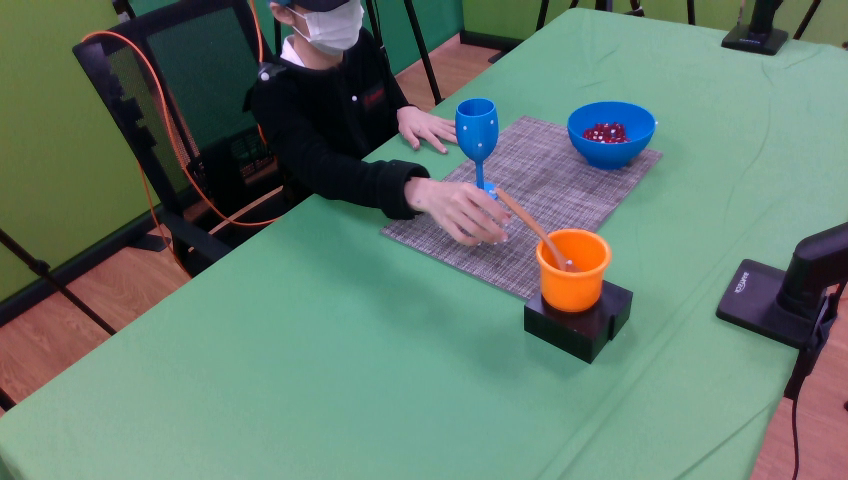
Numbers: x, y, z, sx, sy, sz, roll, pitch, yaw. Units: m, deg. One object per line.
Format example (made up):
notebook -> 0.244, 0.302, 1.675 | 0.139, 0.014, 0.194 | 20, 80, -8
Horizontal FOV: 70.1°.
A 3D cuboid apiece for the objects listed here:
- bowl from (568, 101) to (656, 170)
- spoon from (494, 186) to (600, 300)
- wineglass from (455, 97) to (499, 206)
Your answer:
bowl -> 0.332, -0.179, 1.084 | 0.151, 0.077, 0.150 | -4, 40, 4
spoon -> 0.157, 0.002, 0.773 | 0.042, 0.194, 0.021 | -45, 8, -35
wineglass -> 0.092, -0.145, 1.009 | 0.074, 0.173, 0.073 | -5, 40, 4
